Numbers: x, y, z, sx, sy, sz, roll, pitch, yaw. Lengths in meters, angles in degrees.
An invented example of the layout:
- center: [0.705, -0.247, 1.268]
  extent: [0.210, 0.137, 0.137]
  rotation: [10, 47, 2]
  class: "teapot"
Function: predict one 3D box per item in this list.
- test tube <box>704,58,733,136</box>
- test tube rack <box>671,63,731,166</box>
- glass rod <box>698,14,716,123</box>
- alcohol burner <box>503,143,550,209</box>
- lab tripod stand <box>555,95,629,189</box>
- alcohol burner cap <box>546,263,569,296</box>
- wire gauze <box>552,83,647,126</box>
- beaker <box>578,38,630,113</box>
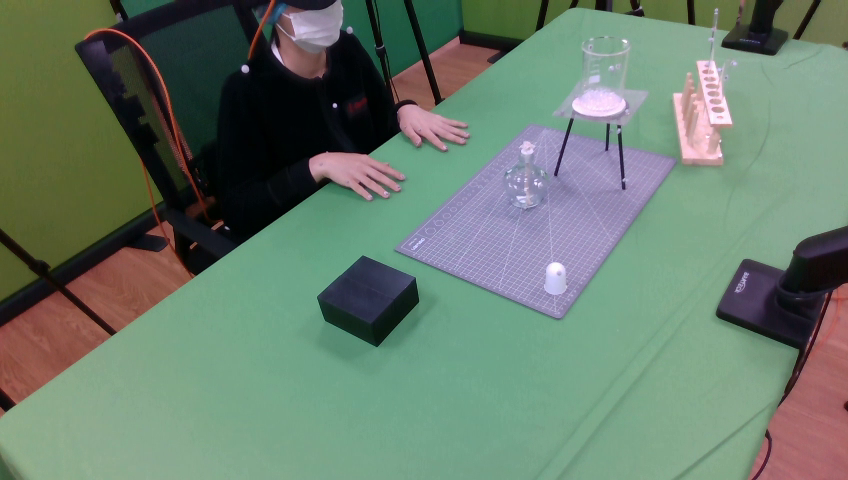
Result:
- center: [0.516, -0.247, 1.062]
  extent: [0.017, 0.151, 0.017]
  rotation: [-3, 43, 4]
  class: "test tube"
- center: [0.513, -0.241, 1.132]
  extent: [0.066, 0.085, 0.242]
  rotation: [4, 41, 14]
  class: "test tube rack"
- center: [0.531, -0.320, 1.136]
  extent: [0.008, 0.200, 0.008]
  rotation: [3, 12, 0]
  class: "glass rod"
- center: [0.171, -0.112, 1.006]
  extent: [0.078, 0.119, 0.077]
  rotation: [-3, 41, 3]
  class: "alcohol burner"
- center: [0.300, -0.174, 1.045]
  extent: [0.148, 0.132, 0.147]
  rotation: [-5, 38, 5]
  class: "lab tripod stand"
- center: [0.191, 0.053, 0.862]
  extent: [0.034, 0.048, 0.033]
  rotation: [-5, 40, 4]
  class: "alcohol burner cap"
- center: [0.293, -0.224, 1.004]
  extent: [0.120, 0.011, 0.125]
  rotation: [19, 43, 26]
  class: "wire gauze"
- center: [0.290, -0.265, 0.976]
  extent: [0.084, 0.101, 0.073]
  rotation: [-18, 41, -14]
  class: "beaker"
